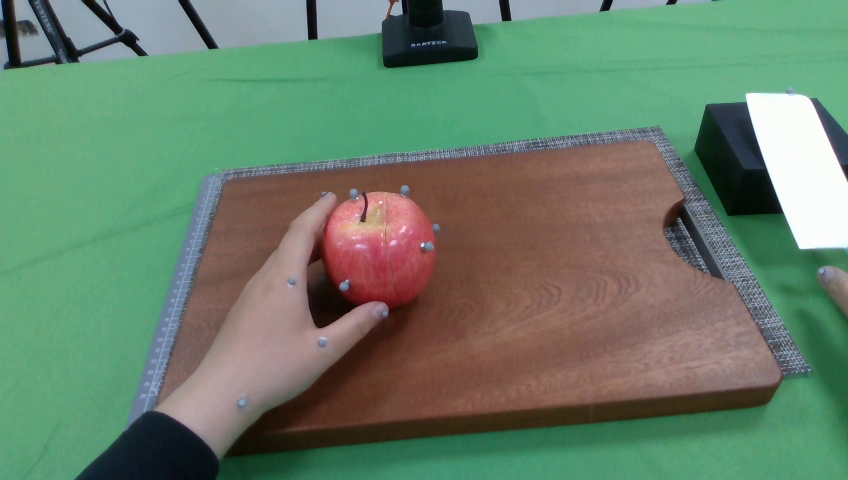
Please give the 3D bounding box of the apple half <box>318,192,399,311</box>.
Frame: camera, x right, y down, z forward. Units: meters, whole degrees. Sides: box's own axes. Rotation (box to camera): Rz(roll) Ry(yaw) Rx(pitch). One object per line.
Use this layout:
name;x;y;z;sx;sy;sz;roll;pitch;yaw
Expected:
apple half;-0.047;0.011;0.430;0.053;0.075;0.080;-9;46;4

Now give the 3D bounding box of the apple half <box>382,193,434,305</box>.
apple half;-0.008;0.006;0.429;0.033;0.082;0.080;-9;44;4

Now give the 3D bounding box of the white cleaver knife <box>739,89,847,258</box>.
white cleaver knife;0.305;-0.012;0.460;0.066;0.022;0.283;-5;55;7
